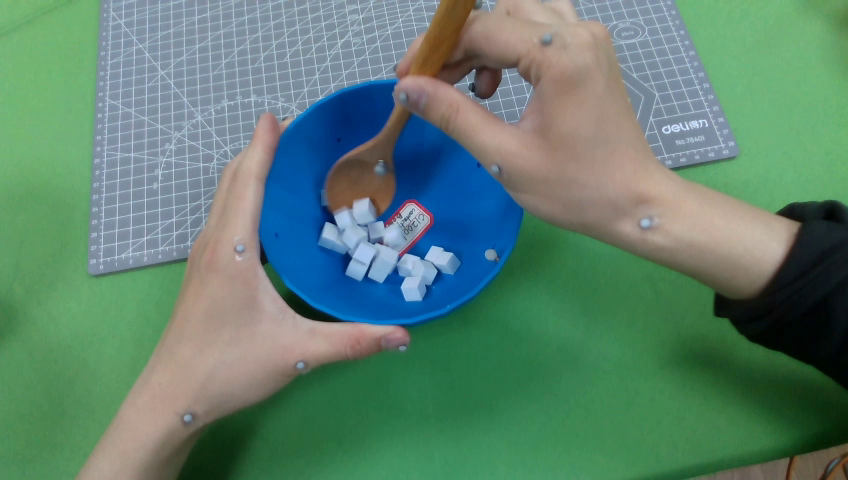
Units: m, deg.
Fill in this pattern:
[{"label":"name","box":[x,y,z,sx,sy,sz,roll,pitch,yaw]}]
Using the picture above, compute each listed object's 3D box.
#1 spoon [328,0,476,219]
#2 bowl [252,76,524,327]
[{"label":"spoon","box":[-0.011,-0.062,0.301,0.042,0.194,0.021,20,60,-12]},{"label":"bowl","box":[-0.018,-0.014,0.369,0.151,0.077,0.150,-1,70,3]}]
